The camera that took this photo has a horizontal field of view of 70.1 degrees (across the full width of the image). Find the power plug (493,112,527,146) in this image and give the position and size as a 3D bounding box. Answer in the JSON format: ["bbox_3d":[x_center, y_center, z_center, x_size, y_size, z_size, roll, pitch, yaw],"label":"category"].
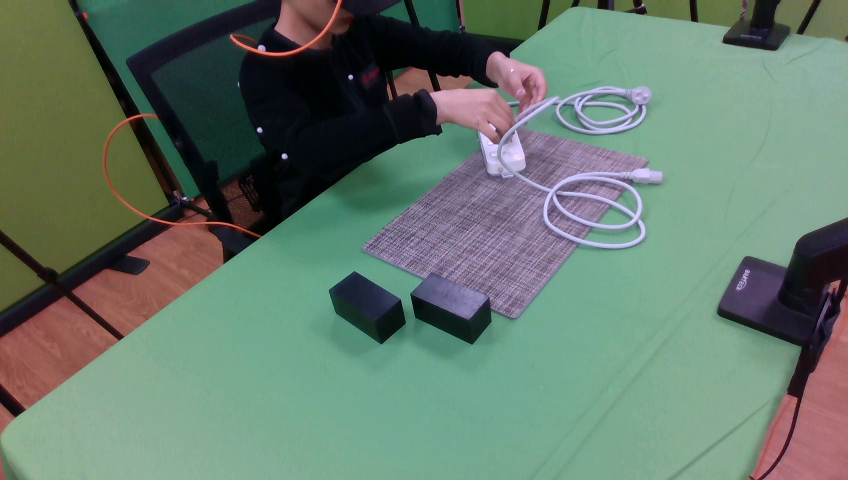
[{"bbox_3d":[0.158,-0.193,1.081,0.072,0.053,0.035,-17,70,21],"label":"power plug"}]

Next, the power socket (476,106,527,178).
[{"bbox_3d":[0.146,-0.196,1.173,0.072,0.033,0.225,-7,40,2],"label":"power socket"}]
